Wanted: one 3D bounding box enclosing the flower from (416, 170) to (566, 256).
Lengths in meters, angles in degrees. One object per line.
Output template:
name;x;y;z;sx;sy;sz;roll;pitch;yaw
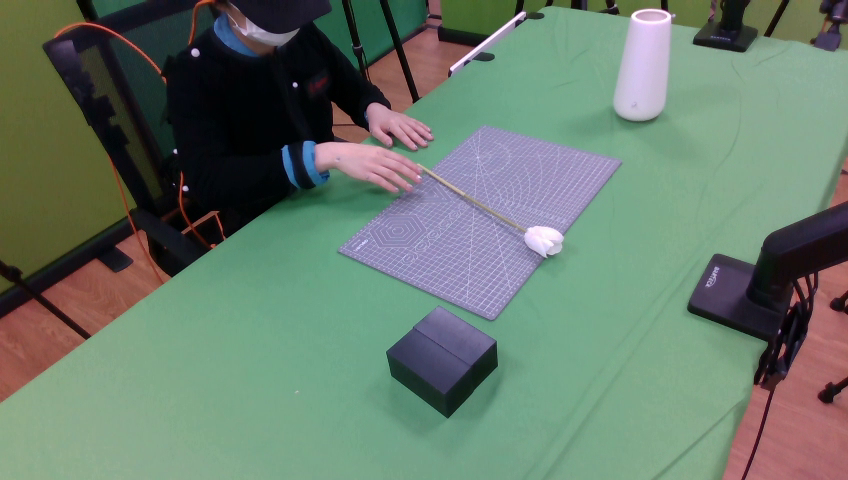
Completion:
flower;0.094;-0.061;1.028;0.358;0.038;0.044;33;92;44

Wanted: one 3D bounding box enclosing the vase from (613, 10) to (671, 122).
vase;0.419;-0.326;1.151;0.098;0.201;0.097;-4;42;4
